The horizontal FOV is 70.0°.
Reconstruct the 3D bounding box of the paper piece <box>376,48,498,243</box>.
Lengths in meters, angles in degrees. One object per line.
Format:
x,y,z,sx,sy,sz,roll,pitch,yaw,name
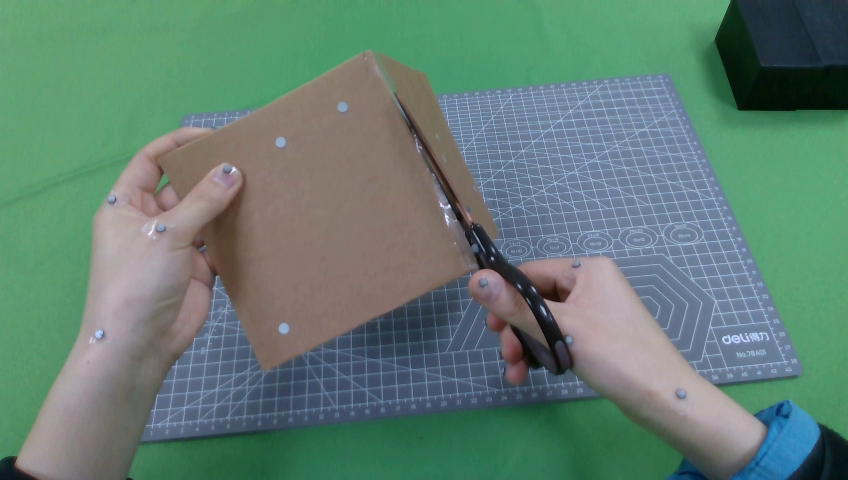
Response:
0.017,-0.058,0.401,0.004,0.135,0.135,-27,94,13,paper piece

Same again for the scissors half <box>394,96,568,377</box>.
0.026,-0.008,0.319,0.013,0.040,0.174,-27,73,-11,scissors half

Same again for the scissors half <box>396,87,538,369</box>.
0.025,-0.005,0.341,0.013,0.040,0.176,-27,100,-6,scissors half

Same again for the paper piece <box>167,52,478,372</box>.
-0.060,-0.015,0.336,0.138,0.009,0.135,-26,82,8,paper piece
